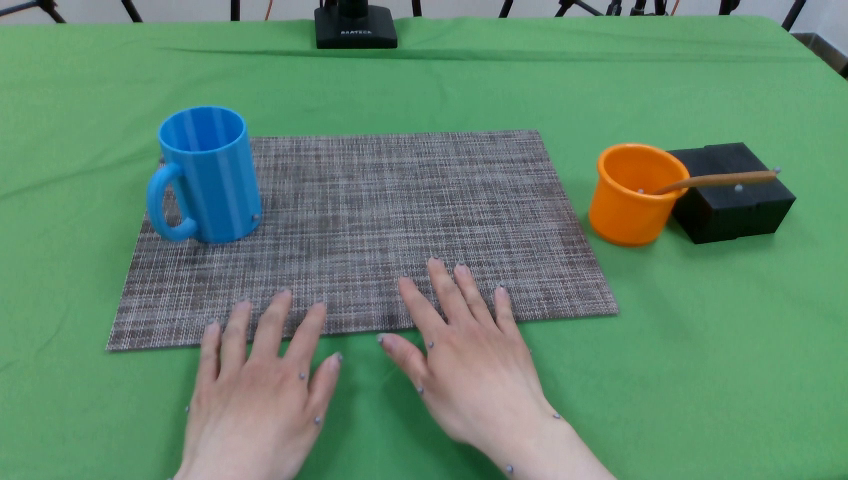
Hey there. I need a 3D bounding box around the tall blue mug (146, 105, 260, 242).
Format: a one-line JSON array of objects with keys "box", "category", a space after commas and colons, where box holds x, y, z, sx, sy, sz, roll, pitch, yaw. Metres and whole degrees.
[{"box": [-0.205, -0.052, 0.572, 0.078, 0.109, 0.106, 3, 44, -2], "category": "tall blue mug"}]

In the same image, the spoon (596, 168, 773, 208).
[{"box": [0.243, -0.052, 0.589, 0.042, 0.193, 0.021, -20, 93, -27], "category": "spoon"}]
